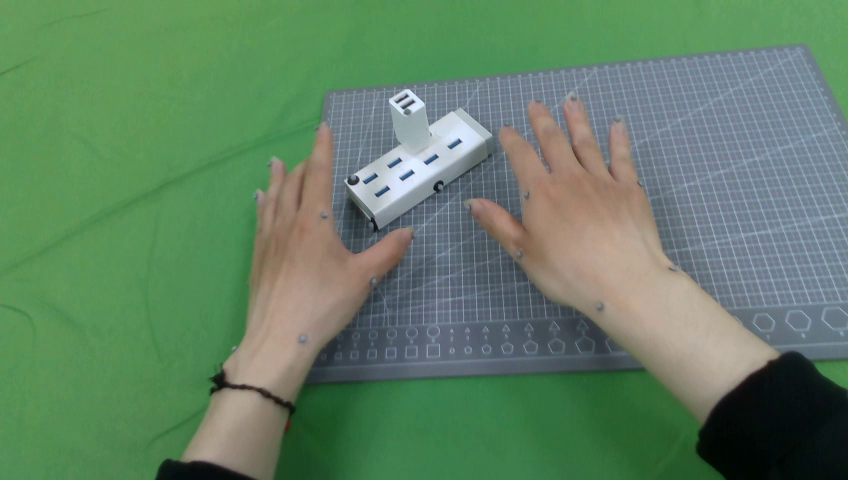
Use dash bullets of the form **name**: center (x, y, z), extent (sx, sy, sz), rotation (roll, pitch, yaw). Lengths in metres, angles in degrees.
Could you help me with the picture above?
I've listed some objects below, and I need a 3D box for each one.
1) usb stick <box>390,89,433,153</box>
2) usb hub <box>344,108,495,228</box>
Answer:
- **usb stick**: center (-0.009, -0.092, 0.499), extent (0.021, 0.060, 0.027), rotation (-36, 57, -14)
- **usb hub**: center (-0.003, -0.063, 0.514), extent (0.125, 0.025, 0.049), rotation (-34, 58, -13)
